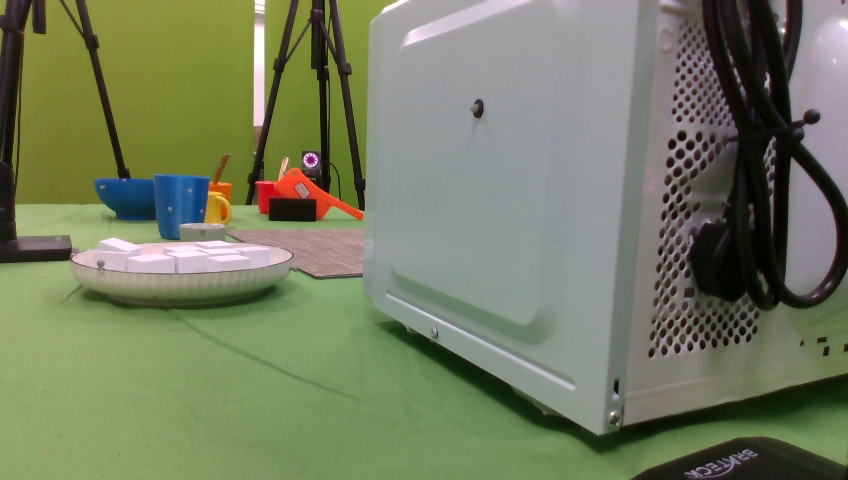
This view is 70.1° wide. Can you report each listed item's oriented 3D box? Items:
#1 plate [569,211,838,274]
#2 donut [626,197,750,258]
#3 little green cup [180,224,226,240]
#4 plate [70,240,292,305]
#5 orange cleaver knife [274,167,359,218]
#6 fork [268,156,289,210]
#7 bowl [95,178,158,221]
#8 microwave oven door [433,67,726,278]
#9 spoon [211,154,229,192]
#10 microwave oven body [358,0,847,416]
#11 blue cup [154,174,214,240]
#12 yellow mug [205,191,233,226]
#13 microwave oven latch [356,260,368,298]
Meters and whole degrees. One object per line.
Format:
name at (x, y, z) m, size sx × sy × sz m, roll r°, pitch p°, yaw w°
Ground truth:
plate at (0.230, -0.001, 0.519) m, size 0.209 × 0.038 × 0.209 m, roll 2°, pitch 6°, yaw 0°
donut at (0.224, -0.010, 0.519) m, size 0.099 × 0.048 × 0.099 m, roll 5°, pitch 8°, yaw 0°
little green cup at (-0.309, -0.001, 0.846) m, size 0.061 × 0.038 × 0.061 m, roll 2°, pitch 8°, yaw 0°
plate at (-0.242, 0.031, 0.618) m, size 0.208 × 0.039 × 0.207 m, roll 2°, pitch 8°, yaw 0°
orange cleaver knife at (-0.238, -0.091, 1.381) m, size 0.212 × 0.077 × 0.012 m, roll 31°, pitch 0°, yaw -19°
fork at (-0.360, -0.144, 1.508) m, size 0.028 × 0.018 × 0.207 m, roll 1°, pitch 49°, yaw 1°
bowl at (-0.576, -0.081, 1.217) m, size 0.151 × 0.077 × 0.151 m, roll 3°, pitch 8°, yaw 0°
microwave oven door at (0.181, -0.092, 0.778) m, size 0.354 × 0.243 × 0.039 m, roll 6°, pitch 9°, yaw 26°
spoon at (-0.431, -0.115, 1.253) m, size 0.042 × 0.193 × 0.021 m, roll -3°, pitch 54°, yaw -33°
microwave oven body at (0.211, -0.047, 0.474) m, size 0.444 × 0.260 × 0.324 m, roll -1°, pitch 7°, yaw -28°
blue cup at (-0.391, -0.053, 0.978) m, size 0.093 × 0.100 × 0.092 m, roll 3°, pitch 6°, yaw 0°
yellow mug at (-0.415, -0.057, 1.131) m, size 0.130 × 0.064 × 0.100 m, roll 6°, pitch 8°, yaw 16°
microwave oven latch at (-0.020, 0.033, 0.530) m, size 0.079 × 0.029 × 0.030 m, roll 0°, pitch 7°, yaw -26°
